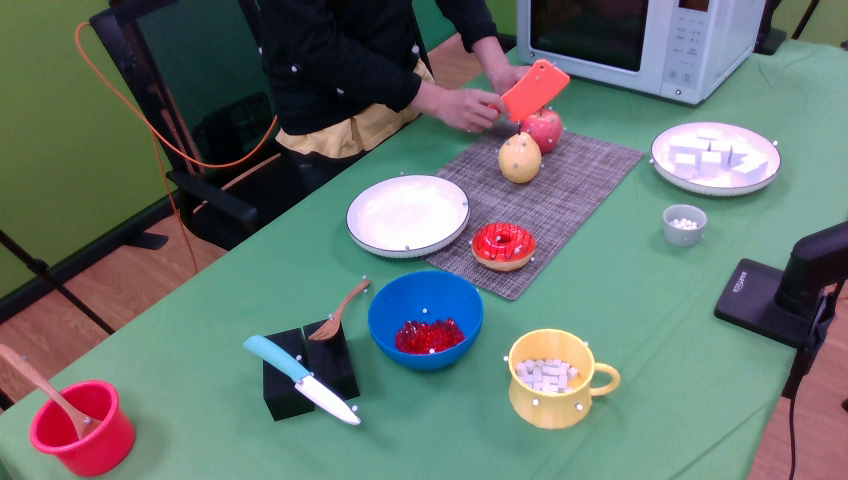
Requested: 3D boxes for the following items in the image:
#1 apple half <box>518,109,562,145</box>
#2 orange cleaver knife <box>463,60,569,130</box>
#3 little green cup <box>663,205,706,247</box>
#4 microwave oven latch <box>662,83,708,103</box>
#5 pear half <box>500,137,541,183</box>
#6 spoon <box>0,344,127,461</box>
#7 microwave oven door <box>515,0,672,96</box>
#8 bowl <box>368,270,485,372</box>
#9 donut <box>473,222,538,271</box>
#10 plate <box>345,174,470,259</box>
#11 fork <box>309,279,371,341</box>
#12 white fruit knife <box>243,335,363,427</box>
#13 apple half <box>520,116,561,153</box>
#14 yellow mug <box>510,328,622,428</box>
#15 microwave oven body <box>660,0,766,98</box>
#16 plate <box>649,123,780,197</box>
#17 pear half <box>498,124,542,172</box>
[{"bbox_3d":[0.221,-0.212,1.145,0.080,0.075,0.053,-5,33,15],"label":"apple half"},{"bbox_3d":[0.163,-0.247,1.097,0.210,0.077,0.012,-32,25,35],"label":"orange cleaver knife"},{"bbox_3d":[0.396,-0.021,0.927,0.061,0.039,0.061,-4,40,4],"label":"little green cup"},{"bbox_3d":[0.517,-0.296,1.204,0.078,0.029,0.030,27,52,35],"label":"microwave oven latch"},{"bbox_3d":[0.169,-0.133,1.047,0.070,0.088,0.031,-2,40,-2],"label":"pear half"},{"bbox_3d":[-0.433,0.191,0.721,0.194,0.021,0.042,47,54,-7],"label":"spoon"},{"bbox_3d":[0.343,-0.455,1.259,0.353,0.245,0.039,26,51,33],"label":"microwave oven door"},{"bbox_3d":[0.007,0.118,0.791,0.151,0.077,0.150,-5,40,4],"label":"bowl"},{"bbox_3d":[0.123,0.008,0.923,0.099,0.048,0.098,-3,38,3],"label":"donut"},{"bbox_3d":[-0.026,-0.037,1.004,0.209,0.038,0.208,-4,40,4],"label":"plate"},{"bbox_3d":[-0.109,0.093,0.832,0.028,0.018,0.207,-4,19,15],"label":"fork"},{"bbox_3d":[-0.148,0.167,0.729,0.206,0.016,0.027,27,80,31],"label":"white fruit knife"},{"bbox_3d":[0.215,-0.190,1.115,0.081,0.081,0.032,1,35,10],"label":"apple half"},{"bbox_3d":[0.168,0.164,0.722,0.130,0.064,0.099,0,40,8],"label":"yellow mug"},{"bbox_3d":[0.472,-0.513,1.317,0.438,0.261,0.327,26,51,34],"label":"microwave oven body"},{"bbox_3d":[0.497,-0.135,1.046,0.207,0.039,0.206,-4,40,4],"label":"plate"},{"bbox_3d":[0.169,-0.163,1.068,0.076,0.110,0.055,-3,41,0],"label":"pear half"}]
